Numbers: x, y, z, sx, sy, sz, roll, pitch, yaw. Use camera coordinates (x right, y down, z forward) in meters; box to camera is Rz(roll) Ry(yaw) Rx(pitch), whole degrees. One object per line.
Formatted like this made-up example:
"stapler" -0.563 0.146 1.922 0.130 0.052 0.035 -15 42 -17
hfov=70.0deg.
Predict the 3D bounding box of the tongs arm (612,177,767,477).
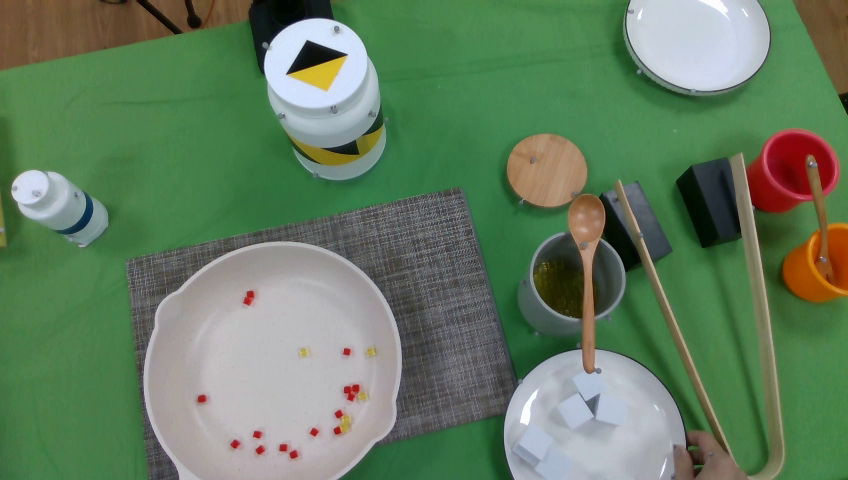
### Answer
"tongs arm" 0.315 0.098 0.726 0.051 0.026 0.383 -18 85 -7

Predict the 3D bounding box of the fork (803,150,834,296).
"fork" 0.474 -0.016 0.730 0.028 0.018 0.209 -26 119 1

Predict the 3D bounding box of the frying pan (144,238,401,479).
"frying pan" -0.220 0.228 0.677 0.306 0.103 0.486 27 67 8

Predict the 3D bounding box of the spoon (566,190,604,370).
"spoon" 0.174 0.042 0.652 0.041 0.022 0.193 3 77 -3

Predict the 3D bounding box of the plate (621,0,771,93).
"plate" 0.385 -0.300 0.870 0.209 0.038 0.208 0 74 0

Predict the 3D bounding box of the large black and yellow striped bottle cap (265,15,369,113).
"large black and yellow striped bottle cap" -0.119 -0.198 0.677 0.115 0.019 0.114 0 75 0

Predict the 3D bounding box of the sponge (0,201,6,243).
"sponge" -0.638 -0.083 0.793 0.118 0.061 0.205 -18 75 -6

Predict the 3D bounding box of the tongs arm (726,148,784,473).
"tongs arm" 0.396 0.080 0.733 0.028 0.028 0.386 -3 84 -8

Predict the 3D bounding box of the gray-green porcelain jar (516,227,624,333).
"gray-green porcelain jar" 0.167 0.053 0.721 0.106 0.127 0.105 0 73 0

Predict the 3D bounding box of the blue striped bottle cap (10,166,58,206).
"blue striped bottle cap" -0.453 -0.064 0.703 0.044 0.021 0.044 0 75 0

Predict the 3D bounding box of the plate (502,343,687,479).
"plate" 0.195 0.225 0.710 0.207 0.039 0.206 -1 77 5

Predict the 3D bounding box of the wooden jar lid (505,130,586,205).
"wooden jar lid" 0.164 -0.097 0.821 0.108 0.021 0.108 0 75 0

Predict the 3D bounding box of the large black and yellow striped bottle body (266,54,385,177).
"large black and yellow striped bottle body" -0.120 -0.172 0.757 0.131 0.185 0.130 0 73 0

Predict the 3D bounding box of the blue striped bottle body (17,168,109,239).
"blue striped bottle body" -0.452 -0.048 0.752 0.063 0.121 0.062 0 73 0
